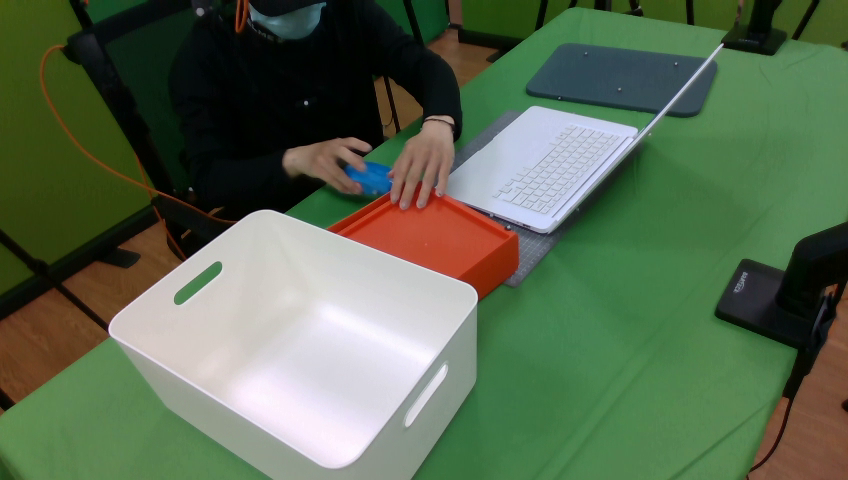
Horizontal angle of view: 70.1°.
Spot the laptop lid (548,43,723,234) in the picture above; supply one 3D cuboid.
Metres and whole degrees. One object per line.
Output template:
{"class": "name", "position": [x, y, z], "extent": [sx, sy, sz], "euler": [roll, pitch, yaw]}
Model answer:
{"class": "laptop lid", "position": [0.336, -0.160, 0.956], "extent": [0.013, 0.241, 0.358], "euler": [43, 54, 8]}

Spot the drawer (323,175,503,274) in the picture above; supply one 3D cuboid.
{"class": "drawer", "position": [-0.019, 0.009, 0.915], "extent": [0.195, 0.073, 0.210], "euler": [-33, 47, -27]}

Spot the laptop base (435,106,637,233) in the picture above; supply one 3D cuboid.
{"class": "laptop base", "position": [0.210, -0.142, 1.111], "extent": [0.233, 0.023, 0.355], "euler": [21, 48, 33]}

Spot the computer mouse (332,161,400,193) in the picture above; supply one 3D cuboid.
{"class": "computer mouse", "position": [-0.103, -0.110, 1.059], "extent": [0.116, 0.041, 0.063], "euler": [5, 38, 20]}

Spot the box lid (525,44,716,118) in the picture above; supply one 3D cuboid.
{"class": "box lid", "position": [0.432, -0.360, 1.341], "extent": [0.369, 0.015, 0.263], "euler": [16, 45, 24]}

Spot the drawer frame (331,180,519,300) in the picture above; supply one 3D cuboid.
{"class": "drawer frame", "position": [-0.003, 0.020, 0.901], "extent": [0.202, 0.083, 0.211], "euler": [-35, 48, -28]}

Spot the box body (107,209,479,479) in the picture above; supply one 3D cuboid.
{"class": "box body", "position": [-0.140, 0.136, 0.725], "extent": [0.361, 0.161, 0.254], "euler": [19, 47, 28]}
